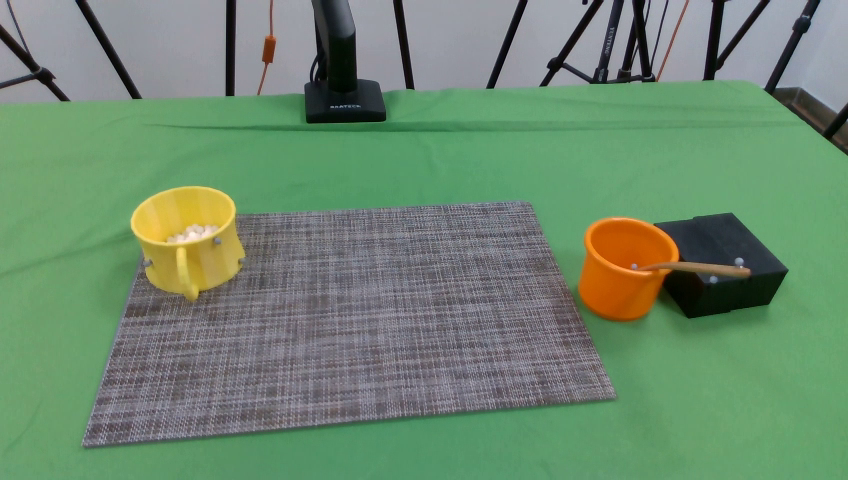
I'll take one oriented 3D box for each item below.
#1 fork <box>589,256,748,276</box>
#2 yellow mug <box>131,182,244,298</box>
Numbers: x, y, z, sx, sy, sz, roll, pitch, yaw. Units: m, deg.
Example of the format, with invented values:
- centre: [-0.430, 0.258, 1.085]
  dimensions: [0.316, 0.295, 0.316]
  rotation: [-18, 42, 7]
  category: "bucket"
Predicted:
- centre: [0.220, 0.025, 0.570]
  dimensions: [0.028, 0.018, 0.207]
  rotation: [-3, -4, -17]
  category: "fork"
- centre: [-0.240, 0.004, 0.620]
  dimensions: [0.100, 0.064, 0.129]
  rotation: [-7, 42, -13]
  category: "yellow mug"
